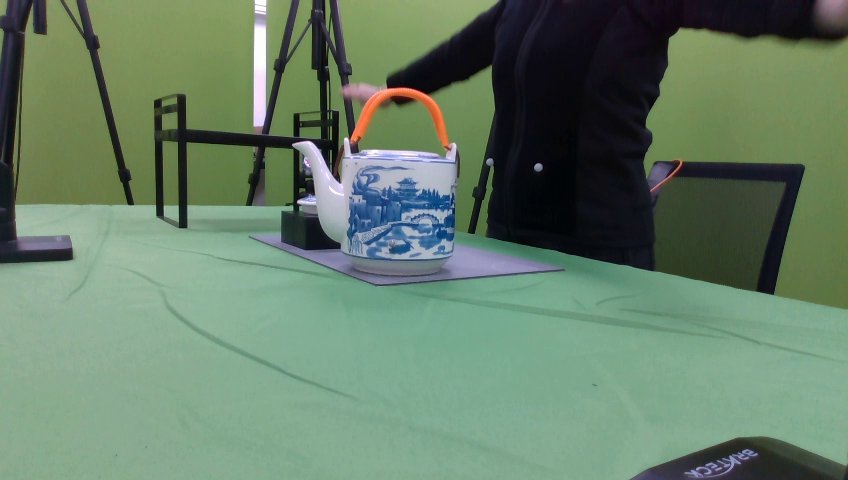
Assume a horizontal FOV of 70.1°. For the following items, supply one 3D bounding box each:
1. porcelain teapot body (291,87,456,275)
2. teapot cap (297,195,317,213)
[{"bbox_3d":[-0.061,-0.076,0.754,0.206,0.225,0.145,0,8,-12],"label":"porcelain teapot body"},{"bbox_3d":[-0.158,-0.065,0.951,0.085,0.044,0.085,0,9,0],"label":"teapot cap"}]
